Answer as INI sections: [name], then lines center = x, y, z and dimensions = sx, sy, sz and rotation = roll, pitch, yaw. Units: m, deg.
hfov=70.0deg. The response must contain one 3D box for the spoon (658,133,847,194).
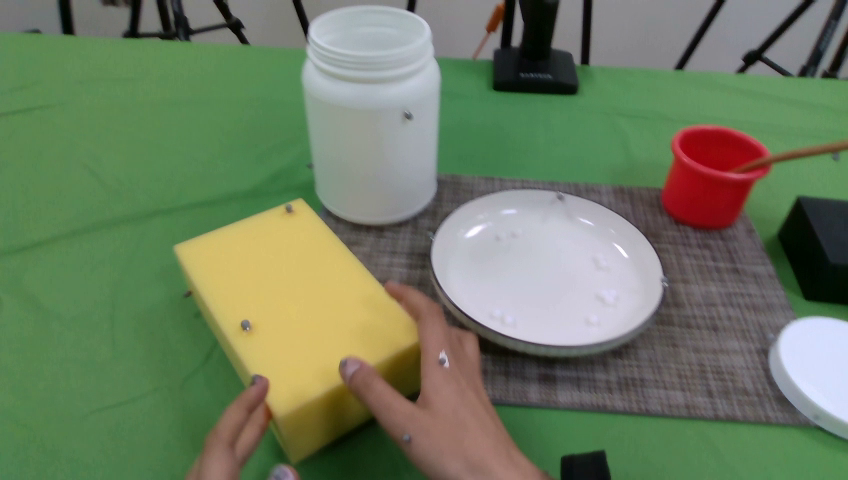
[spoon]
center = 0.321, -0.075, 0.595
dimensions = 0.041, 0.193, 0.022
rotation = -39, 102, -37

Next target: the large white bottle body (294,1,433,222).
[large white bottle body]
center = -0.057, -0.125, 0.600
dimensions = 0.130, 0.186, 0.129
rotation = 1, 42, -1

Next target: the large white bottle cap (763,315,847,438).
[large white bottle cap]
center = 0.337, 0.108, 0.489
dimensions = 0.115, 0.018, 0.113
rotation = 3, 43, -3

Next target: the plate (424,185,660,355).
[plate]
center = 0.104, 0.026, 0.552
dimensions = 0.209, 0.038, 0.207
rotation = 2, 42, -1

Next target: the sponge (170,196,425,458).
[sponge]
center = -0.105, 0.056, 0.489
dimensions = 0.118, 0.061, 0.204
rotation = -27, 47, -26
